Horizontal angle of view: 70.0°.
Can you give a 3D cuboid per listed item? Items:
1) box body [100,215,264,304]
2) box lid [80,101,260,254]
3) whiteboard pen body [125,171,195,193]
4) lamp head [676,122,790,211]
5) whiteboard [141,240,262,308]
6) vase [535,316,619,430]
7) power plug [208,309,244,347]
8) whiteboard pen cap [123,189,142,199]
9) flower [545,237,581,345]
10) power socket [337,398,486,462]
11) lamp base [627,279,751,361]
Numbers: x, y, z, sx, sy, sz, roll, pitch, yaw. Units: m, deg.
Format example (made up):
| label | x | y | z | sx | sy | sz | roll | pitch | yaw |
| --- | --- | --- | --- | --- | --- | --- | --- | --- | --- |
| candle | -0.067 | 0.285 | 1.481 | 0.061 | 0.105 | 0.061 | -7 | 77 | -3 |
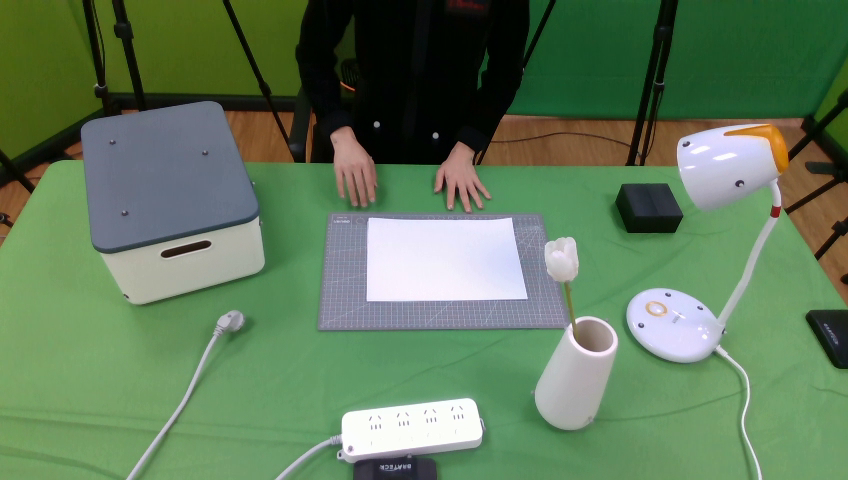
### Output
| label | x | y | z | sx | sy | sz | roll | pitch | yaw |
| --- | --- | --- | --- | --- | --- | --- | --- | --- | --- |
| box body | -0.465 | -0.076 | 1.137 | 0.254 | 0.161 | 0.361 | -16 | 50 | -19 |
| box lid | -0.461 | -0.127 | 1.082 | 0.264 | 0.015 | 0.369 | -15 | 49 | -19 |
| whiteboard pen body | -0.553 | -0.119 | 1.270 | 0.141 | 0.017 | 0.017 | -18 | 50 | -15 |
| lamp head | 0.423 | -0.104 | 0.819 | 0.122 | 0.113 | 0.112 | -13 | 33 | 40 |
| whiteboard | -0.464 | -0.059 | 1.137 | 0.217 | 0.144 | 0.303 | -19 | 51 | -17 |
| vase | 0.229 | 0.200 | 0.901 | 0.098 | 0.201 | 0.097 | 3 | 46 | -3 |
| power plug | -0.335 | 0.148 | 1.019 | 0.035 | 0.053 | 0.072 | 36 | 75 | 23 |
| whiteboard pen cap | -0.591 | -0.093 | 1.231 | 0.033 | 0.018 | 0.018 | -13 | 49 | -18 |
| flower | 0.213 | 0.137 | 0.846 | 0.038 | 0.364 | 0.044 | 21 | 55 | 39 |
| power socket | -0.018 | 0.286 | 0.914 | 0.227 | 0.033 | 0.071 | -4 | 46 | -8 |
| lamp base | 0.460 | 0.100 | 1.027 | 0.178 | 0.181 | 0.160 | 27 | 51 | 17 |
